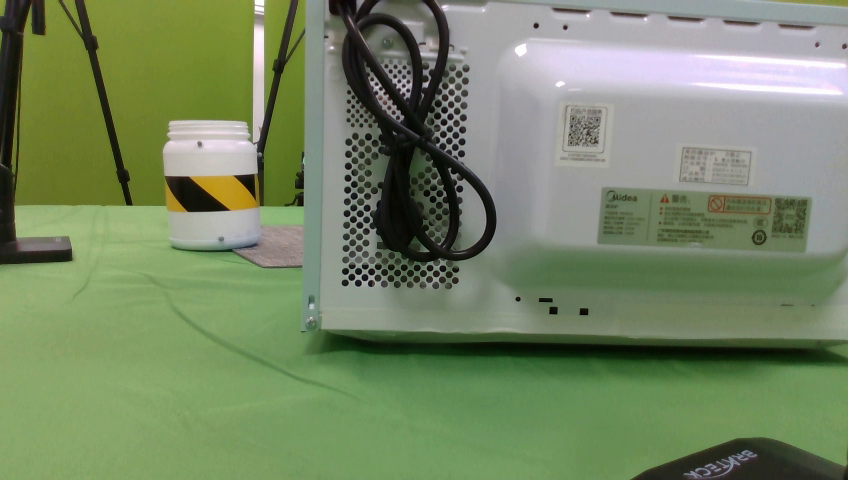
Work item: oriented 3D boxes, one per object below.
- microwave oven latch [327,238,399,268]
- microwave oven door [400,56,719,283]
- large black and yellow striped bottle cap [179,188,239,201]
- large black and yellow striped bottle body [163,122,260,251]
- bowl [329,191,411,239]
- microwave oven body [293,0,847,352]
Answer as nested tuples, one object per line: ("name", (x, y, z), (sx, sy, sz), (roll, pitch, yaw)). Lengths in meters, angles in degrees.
("microwave oven latch", (-0.069, 0.015, 0.694), (0.079, 0.029, 0.030), (3, 7, -3))
("microwave oven door", (0.155, -0.078, 0.698), (0.356, 0.243, 0.039), (2, 8, -5))
("large black and yellow striped bottle cap", (-0.434, -0.093, 1.226), (0.115, 0.019, 0.115), (3, 9, 0))
("large black and yellow striped bottle body", (-0.317, -0.083, 0.907), (0.131, 0.184, 0.130), (0, 9, 0))
("bowl", (-0.099, -0.046, 1.104), (0.151, 0.077, 0.151), (3, 8, 0))
("microwave oven body", (0.122, -0.055, 0.550), (0.442, 0.260, 0.325), (3, 7, -5))
